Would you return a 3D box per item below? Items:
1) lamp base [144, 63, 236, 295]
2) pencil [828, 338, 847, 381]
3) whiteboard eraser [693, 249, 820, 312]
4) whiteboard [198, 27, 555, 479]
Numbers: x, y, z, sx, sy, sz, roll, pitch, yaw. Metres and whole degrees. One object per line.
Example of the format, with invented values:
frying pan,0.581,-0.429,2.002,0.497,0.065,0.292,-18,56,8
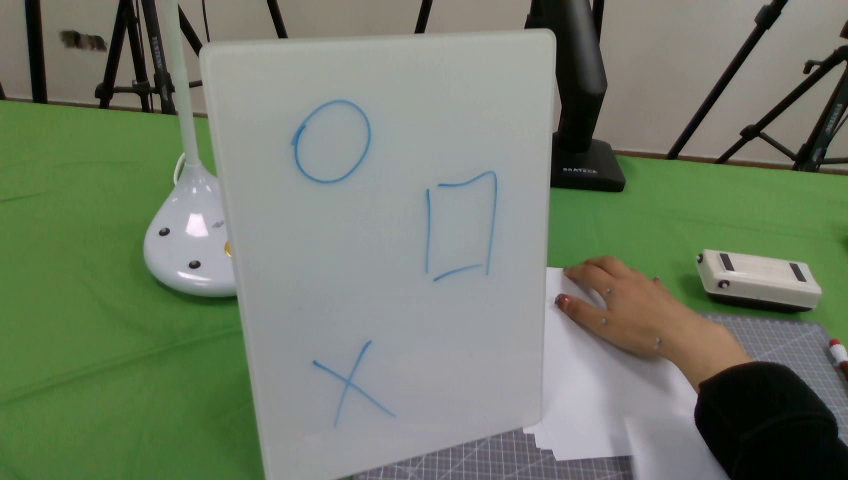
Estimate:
lamp base,-0.203,-0.066,0.581,0.177,0.182,0.161,31,44,32
pencil,0.383,0.158,0.514,0.012,0.012,0.192,9,41,3
whiteboard eraser,0.345,0.043,0.635,0.112,0.042,0.055,9,39,3
whiteboard,-0.033,0.003,0.463,0.218,0.307,0.142,-9,21,-17
